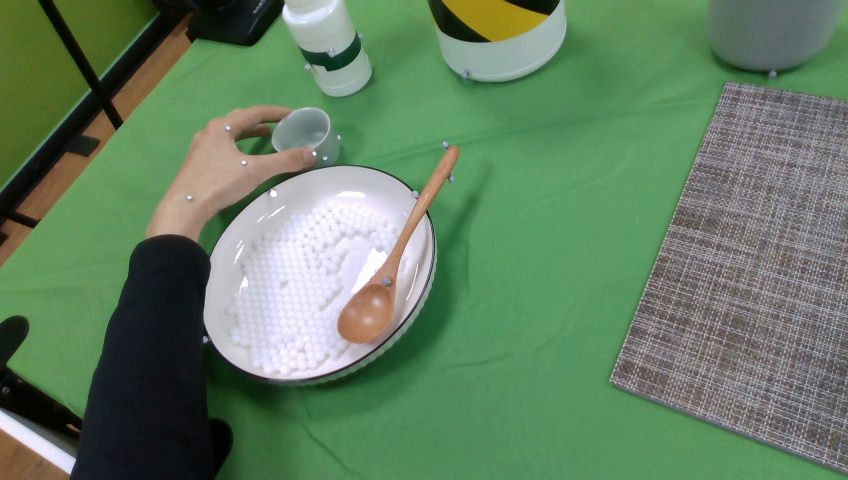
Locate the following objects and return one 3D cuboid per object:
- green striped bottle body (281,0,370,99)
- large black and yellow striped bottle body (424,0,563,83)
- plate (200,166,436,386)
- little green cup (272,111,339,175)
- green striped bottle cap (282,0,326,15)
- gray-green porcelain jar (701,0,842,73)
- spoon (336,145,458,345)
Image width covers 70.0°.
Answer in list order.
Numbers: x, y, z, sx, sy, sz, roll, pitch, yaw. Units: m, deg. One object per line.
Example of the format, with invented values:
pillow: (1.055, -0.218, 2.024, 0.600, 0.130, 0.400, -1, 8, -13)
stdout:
green striped bottle body: (-0.103, -0.209, 0.625, 0.063, 0.120, 0.062, -8, 56, 12)
large black and yellow striped bottle body: (0.059, -0.256, 0.567, 0.130, 0.186, 0.129, -8, 57, 12)
plate: (-0.087, 0.028, 0.519, 0.209, 0.038, 0.207, -8, 56, 12)
little green cup: (-0.116, -0.094, 0.605, 0.061, 0.039, 0.061, -8, 55, 12)
green striped bottle cap: (-0.116, -0.237, 0.583, 0.044, 0.020, 0.044, -6, 59, 10)
gray-green porcelain jar: (0.293, -0.215, 0.507, 0.105, 0.128, 0.105, -7, 57, 12)
spoon: (-0.015, -0.001, 0.496, 0.041, 0.022, 0.193, 20, 74, 25)
